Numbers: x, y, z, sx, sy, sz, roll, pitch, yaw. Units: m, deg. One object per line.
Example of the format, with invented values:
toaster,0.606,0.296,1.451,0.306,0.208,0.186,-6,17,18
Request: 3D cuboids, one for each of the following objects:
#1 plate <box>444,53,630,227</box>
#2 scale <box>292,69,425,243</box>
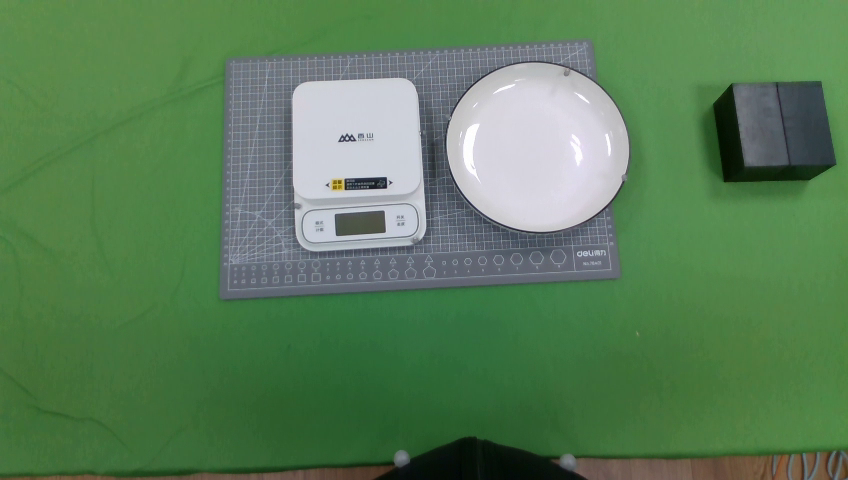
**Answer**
plate,0.127,-0.111,0.693,0.209,0.038,0.208,0,77,1
scale,-0.077,-0.099,0.697,0.149,0.032,0.200,-3,78,0
